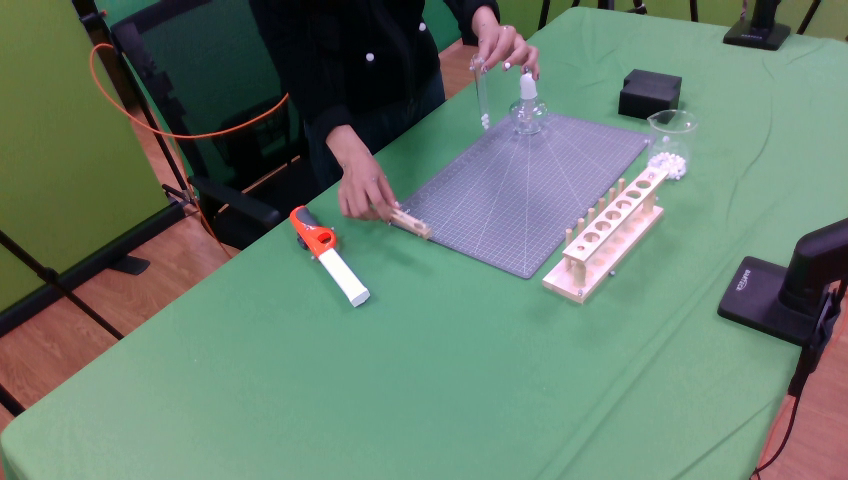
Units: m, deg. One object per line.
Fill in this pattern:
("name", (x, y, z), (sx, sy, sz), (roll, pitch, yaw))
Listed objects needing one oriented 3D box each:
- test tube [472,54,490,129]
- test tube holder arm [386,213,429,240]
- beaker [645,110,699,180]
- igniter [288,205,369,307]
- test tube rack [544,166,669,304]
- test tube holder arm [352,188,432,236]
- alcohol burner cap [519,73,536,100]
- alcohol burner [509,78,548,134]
("test tube", (0.097, -0.246, 1.016), (0.017, 0.151, 0.017), (-6, 51, 8))
("test tube holder arm", (-0.027, -0.025, 0.961), (0.087, 0.015, 0.010), (31, 62, 34))
("beaker", (0.417, -0.160, 1.032), (0.083, 0.101, 0.074), (25, 51, 34))
("igniter", (-0.163, 0.017, 0.986), (0.057, 0.025, 0.274), (-33, 45, -12))
("test tube rack", (0.274, -0.018, 0.903), (0.066, 0.085, 0.243), (26, 51, 35))
("test tube holder arm", (-0.055, -0.047, 0.988), (0.177, 0.015, 0.013), (30, 62, 34))
("alcohol burner cap", (0.198, -0.298, 1.163), (0.034, 0.048, 0.033), (-8, 36, 7))
("alcohol burner", (0.204, -0.270, 1.186), (0.078, 0.119, 0.077), (-5, 42, 5))
